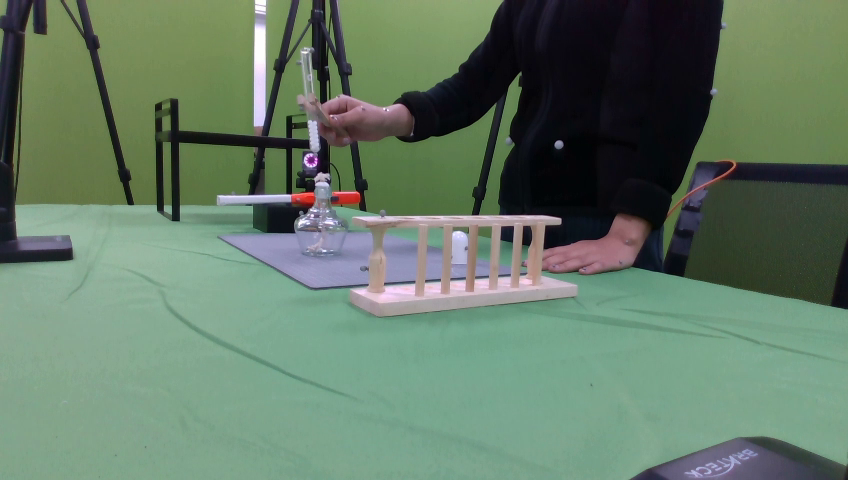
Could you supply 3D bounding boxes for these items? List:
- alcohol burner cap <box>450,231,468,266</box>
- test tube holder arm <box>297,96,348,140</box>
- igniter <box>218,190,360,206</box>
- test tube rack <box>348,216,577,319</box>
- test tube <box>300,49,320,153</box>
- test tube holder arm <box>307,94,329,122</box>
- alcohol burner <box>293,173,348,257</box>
[{"bbox_3d":[0.046,0.012,0.839,0.034,0.048,0.034,3,6,0],"label":"alcohol burner cap"},{"bbox_3d":[-0.151,-0.184,0.923,0.013,0.015,0.179,-5,-8,12],"label":"test tube holder arm"},{"bbox_3d":[-0.247,-0.080,1.150,0.278,0.025,0.057,-5,8,-29],"label":"igniter"},{"bbox_3d":[0.048,0.021,0.619,0.244,0.085,0.066,-2,9,-31],"label":"test tube rack"},{"bbox_3d":[-0.162,-0.198,0.858,0.017,0.150,0.017,-6,-5,0],"label":"test tube"},{"bbox_3d":[-0.153,-0.190,0.878,0.010,0.015,0.088,-5,-8,4],"label":"test tube holder arm"},{"bbox_3d":[-0.146,-0.036,0.859,0.078,0.119,0.078,4,8,0],"label":"alcohol burner"}]
